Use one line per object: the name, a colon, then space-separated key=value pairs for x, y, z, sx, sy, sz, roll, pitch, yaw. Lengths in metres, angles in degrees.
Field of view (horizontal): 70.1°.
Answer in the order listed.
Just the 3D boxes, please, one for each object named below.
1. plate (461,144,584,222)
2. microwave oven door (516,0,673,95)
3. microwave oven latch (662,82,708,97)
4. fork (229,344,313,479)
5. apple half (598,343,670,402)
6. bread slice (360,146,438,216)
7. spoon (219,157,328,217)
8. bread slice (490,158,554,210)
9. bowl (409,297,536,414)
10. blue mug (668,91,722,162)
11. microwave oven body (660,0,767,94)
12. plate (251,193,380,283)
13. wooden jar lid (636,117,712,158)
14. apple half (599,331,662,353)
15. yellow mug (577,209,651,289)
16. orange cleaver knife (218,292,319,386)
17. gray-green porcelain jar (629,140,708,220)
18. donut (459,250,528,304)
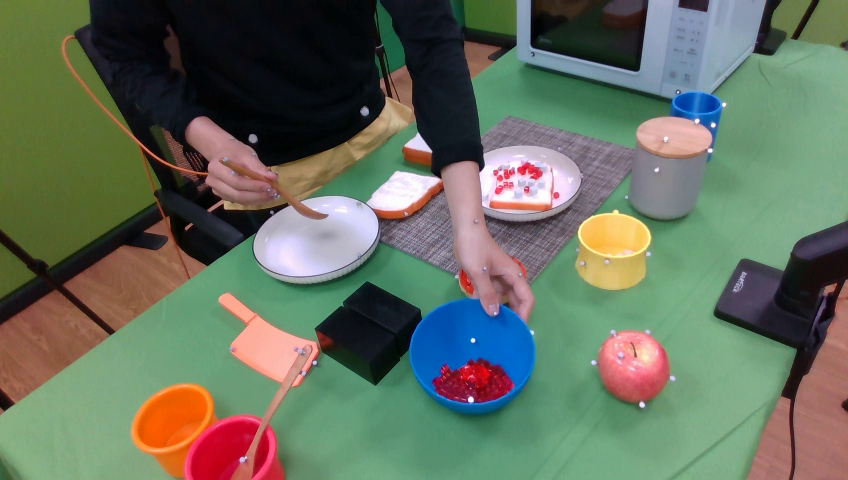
plate: x=0.167 y=-0.095 z=1.040 sx=0.207 sy=0.039 sz=0.206 roll=-4 pitch=40 yaw=4
microwave oven door: x=0.344 y=-0.458 z=1.256 sx=0.353 sy=0.245 sz=0.039 roll=26 pitch=51 yaw=33
microwave oven latch: x=0.517 y=-0.298 z=1.203 sx=0.078 sy=0.029 sz=0.030 roll=28 pitch=53 yaw=35
fork: x=-0.173 y=0.205 z=0.662 sx=0.028 sy=0.019 sz=0.207 roll=29 pitch=94 yaw=36
apple half: x=0.247 y=0.161 z=0.710 sx=0.081 sy=0.075 sz=0.053 roll=2 pitch=47 yaw=5
bread slice: x=-0.053 y=-0.103 z=1.046 sx=0.106 sy=0.018 sz=0.134 roll=18 pitch=66 yaw=23
spoon: x=-0.207 y=-0.072 z=0.848 sx=0.041 sy=0.195 sz=0.021 roll=7 pitch=71 yaw=40
bread slice: x=0.173 y=-0.100 z=1.047 sx=0.104 sy=0.019 sz=0.131 roll=4 pitch=43 yaw=12
bowl: x=0.060 y=0.153 z=0.737 sx=0.151 sy=0.077 sz=0.150 roll=-3 pitch=46 yaw=4
blue mug: x=0.474 y=-0.207 z=1.079 sx=0.082 sy=0.106 sz=0.116 roll=4 pitch=42 yaw=13
microwave oven body: x=0.474 y=-0.517 z=1.313 sx=0.438 sy=0.261 sz=0.327 roll=26 pitch=51 yaw=34
plate: x=-0.173 y=-0.001 z=0.985 sx=0.209 sy=0.038 sz=0.208 roll=-4 pitch=41 yaw=4
wooden jar lid: x=0.377 y=-0.151 z=0.917 sx=0.108 sy=0.021 sz=0.108 roll=-2 pitch=41 yaw=3
apple half: x=0.249 y=0.134 z=0.738 sx=0.081 sy=0.081 sz=0.032 roll=-1 pitch=45 yaw=7
yellow mug: x=0.279 y=0.005 z=0.893 sx=0.099 sy=0.064 sz=0.130 roll=5 pitch=41 yaw=15
orange cleaver knife: x=-0.235 y=0.136 z=0.850 sx=0.209 sy=0.012 sz=0.077 roll=25 pitch=56 yaw=30
gray-green porcelain jar: x=0.383 y=-0.104 z=0.958 sx=0.106 sy=0.127 sz=0.105 roll=-4 pitch=41 yaw=4
donut: x=0.100 y=0.053 z=0.872 sx=0.099 sy=0.048 sz=0.098 roll=-5 pitch=40 yaw=4
